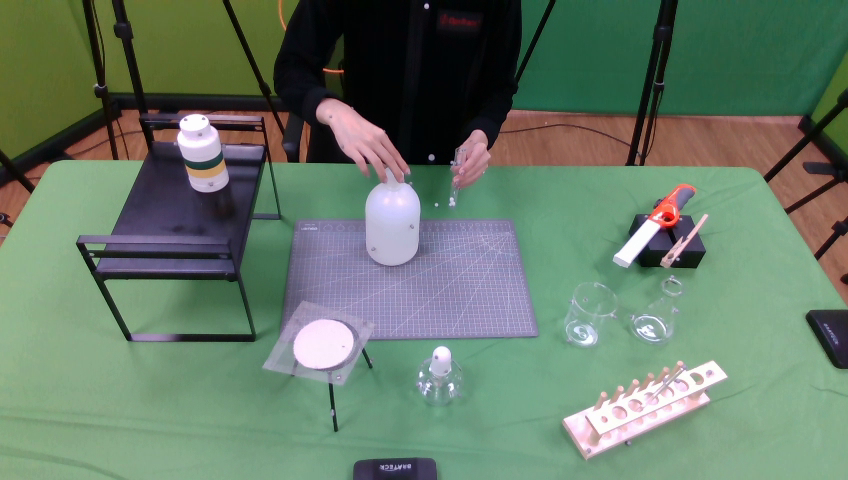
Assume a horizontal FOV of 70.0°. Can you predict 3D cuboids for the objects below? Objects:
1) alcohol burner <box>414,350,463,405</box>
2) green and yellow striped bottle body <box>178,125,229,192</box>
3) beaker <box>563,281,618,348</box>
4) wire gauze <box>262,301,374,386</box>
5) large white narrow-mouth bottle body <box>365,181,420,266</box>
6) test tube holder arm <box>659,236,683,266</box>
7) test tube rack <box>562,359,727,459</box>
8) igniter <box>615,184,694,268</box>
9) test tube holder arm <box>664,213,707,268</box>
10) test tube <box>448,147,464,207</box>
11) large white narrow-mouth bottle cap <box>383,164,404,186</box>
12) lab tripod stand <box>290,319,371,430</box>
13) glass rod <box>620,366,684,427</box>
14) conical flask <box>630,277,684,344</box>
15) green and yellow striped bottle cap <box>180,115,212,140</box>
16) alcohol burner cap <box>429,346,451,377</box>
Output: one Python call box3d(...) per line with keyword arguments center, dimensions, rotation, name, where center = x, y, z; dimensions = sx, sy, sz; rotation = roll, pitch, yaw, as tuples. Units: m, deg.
box3d(center=(0.023, 0.205, 0.939), dimensions=(0.078, 0.120, 0.077), rotation=(1, 48, -1), name="alcohol burner")
box3d(center=(-0.361, -0.142, 0.989), dimensions=(0.063, 0.120, 0.063), rotation=(2, 46, -2), name="green and yellow striped bottle body")
box3d(center=(0.283, 0.129, 1.041), dimensions=(0.074, 0.101, 0.083), rotation=(11, 46, 7), name="beaker")
box3d(center=(-0.150, 0.148, 0.873), dimensions=(0.121, 0.011, 0.124), rotation=(14, 46, 12), name="wire gauze")
box3d(center=(-0.059, -0.048, 1.117), dimensions=(0.102, 0.195, 0.101), rotation=(2, 45, -2), name="large white narrow-mouth bottle body")
box3d(center=(0.472, 0.020, 1.149), dimensions=(0.010, 0.015, 0.088), rotation=(35, 54, 27), name="test tube holder arm")
box3d(center=(0.341, 0.247, 0.940), dimensions=(0.243, 0.085, 0.066), rotation=(-16, 49, -18), name="test tube rack")
box3d(center=(0.459, -0.035, 1.197), dimensions=(0.057, 0.025, 0.276), rotation=(32, 55, 27), name="igniter")
box3d(center=(0.507, -0.001, 1.171), dimensions=(0.013, 0.015, 0.178), rotation=(34, 54, 26), name="test tube holder arm")
box3d(center=(0.057, -0.113, 1.113), dimensions=(0.017, 0.151, 0.017), rotation=(2, 52, -3), name="test tube")
box3d(center=(-0.053, -0.113, 1.054), dimensions=(0.038, 0.024, 0.037), rotation=(2, 45, -2), name="large white narrow-mouth bottle cap")
box3d(center=(-0.146, 0.194, 0.923), dimensions=(0.148, 0.132, 0.147), rotation=(1, 47, -1), name="lab tripod stand")
box3d(center=(0.323, 0.227, 0.866), dimensions=(0.008, 0.200, 0.008), rotation=(5, 51, -6), name="glass rod")
box3d(center=(0.408, 0.117, 1.045), dimensions=(0.075, 0.122, 0.075), rotation=(2, 46, -2), name="conical flask")
box3d(center=(-0.358, -0.177, 0.951), dimensions=(0.045, 0.020, 0.045), rotation=(2, 45, -2), name="green and yellow striped bottle cap")
box3d(center=(0.026, 0.180, 0.912), dimensions=(0.034, 0.048, 0.033), rotation=(1, 47, -1), name="alcohol burner cap")
